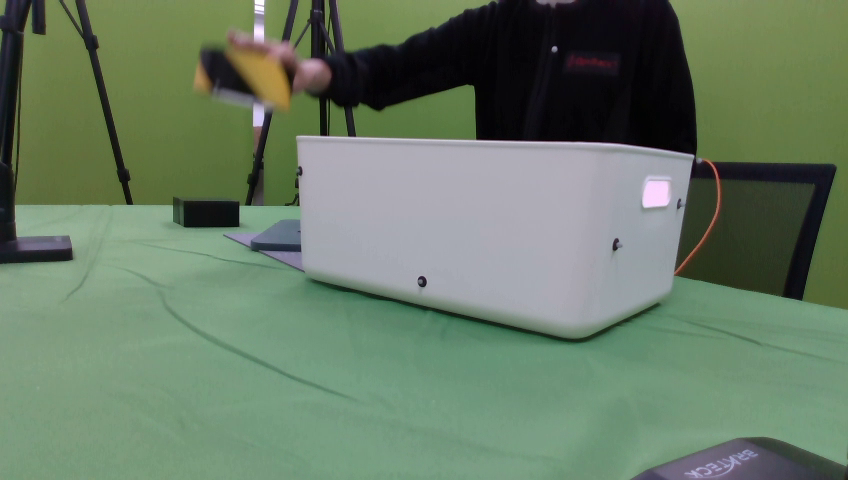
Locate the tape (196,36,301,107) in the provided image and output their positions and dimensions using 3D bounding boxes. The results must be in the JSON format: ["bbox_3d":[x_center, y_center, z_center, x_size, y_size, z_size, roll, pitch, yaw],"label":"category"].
[{"bbox_3d":[-0.209,-0.197,0.717,0.117,0.052,0.117,12,3,0],"label":"tape"}]

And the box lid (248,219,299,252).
[{"bbox_3d":[-0.146,-0.008,1.066,0.264,0.015,0.371,3,7,-6],"label":"box lid"}]

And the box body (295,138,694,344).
[{"bbox_3d":[0.065,-0.020,0.653,0.362,0.160,0.255,9,9,36],"label":"box body"}]
